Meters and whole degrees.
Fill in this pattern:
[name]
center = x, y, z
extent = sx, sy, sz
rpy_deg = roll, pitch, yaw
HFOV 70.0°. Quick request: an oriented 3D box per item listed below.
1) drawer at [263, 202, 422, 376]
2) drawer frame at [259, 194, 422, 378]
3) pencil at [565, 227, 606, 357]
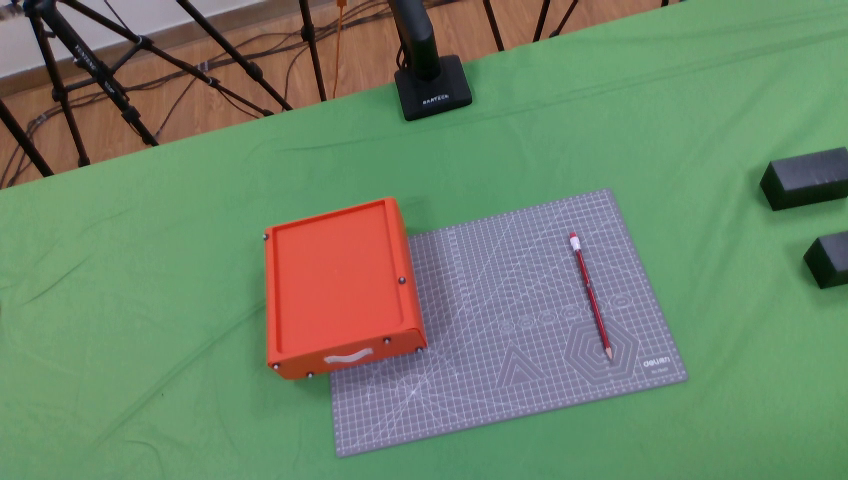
[drawer]
center = -0.118, 0.065, 0.843
extent = 0.194, 0.074, 0.209
rpy_deg = -14, 58, 4
[drawer frame]
center = -0.121, 0.063, 0.843
extent = 0.201, 0.083, 0.211
rpy_deg = -15, 58, 4
[pencil]
center = 0.219, 0.066, 0.819
extent = 0.012, 0.012, 0.192
rpy_deg = -12, 62, 4
